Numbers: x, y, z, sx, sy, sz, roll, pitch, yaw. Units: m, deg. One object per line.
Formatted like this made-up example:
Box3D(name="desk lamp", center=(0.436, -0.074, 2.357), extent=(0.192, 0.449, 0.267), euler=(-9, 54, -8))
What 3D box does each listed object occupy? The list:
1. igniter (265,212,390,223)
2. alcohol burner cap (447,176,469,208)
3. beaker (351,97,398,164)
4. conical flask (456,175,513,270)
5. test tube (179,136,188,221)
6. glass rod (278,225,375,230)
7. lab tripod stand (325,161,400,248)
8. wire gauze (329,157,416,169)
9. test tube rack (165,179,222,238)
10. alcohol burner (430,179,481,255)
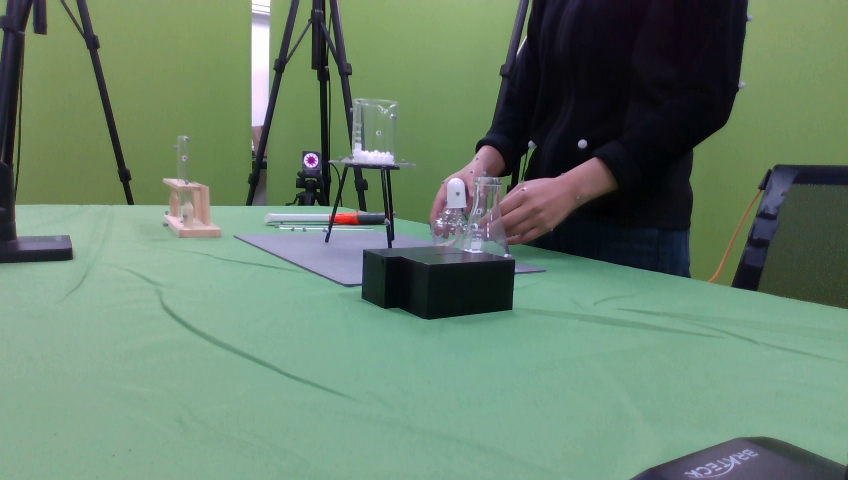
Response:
Box3D(name="igniter", center=(-0.196, -0.048, 1.285), extent=(0.278, 0.025, 0.057), euler=(-2, -2, -30))
Box3D(name="alcohol burner cap", center=(0.050, -0.073, 0.917), extent=(0.034, 0.048, 0.034), euler=(-5, 9, 1))
Box3D(name="beaker", center=(-0.078, -0.172, 0.962), extent=(0.074, 0.100, 0.084), euler=(6, 8, 19))
Box3D(name="conical flask", center=(0.083, -0.025, 0.801), extent=(0.075, 0.122, 0.075), euler=(2, 7, 0))
Box3D(name="test tube", center=(-0.425, -0.108, 1.070), extent=(0.017, 0.150, 0.017), euler=(4, 9, 0))
Box3D(name="glass rod", center=(-0.186, -0.024, 1.178), extent=(0.201, 0.008, 0.008), euler=(1, 7, -31))
Box3D(name="lab tripod stand", center=(-0.083, -0.059, 0.977), extent=(0.148, 0.131, 0.148), euler=(4, 8, 0))
Box3D(name="wire gauze", center=(-0.079, -0.125, 0.972), extent=(0.121, 0.011, 0.125), euler=(6, 6, 5))
Box3D(name="test tube rack", center=(-0.423, -0.062, 1.098), extent=(0.067, 0.085, 0.241), euler=(-2, 9, -28))
Box3D(name="alcohol burner", center=(0.049, -0.037, 0.922), extent=(0.078, 0.119, 0.078), euler=(4, 9, 0))
